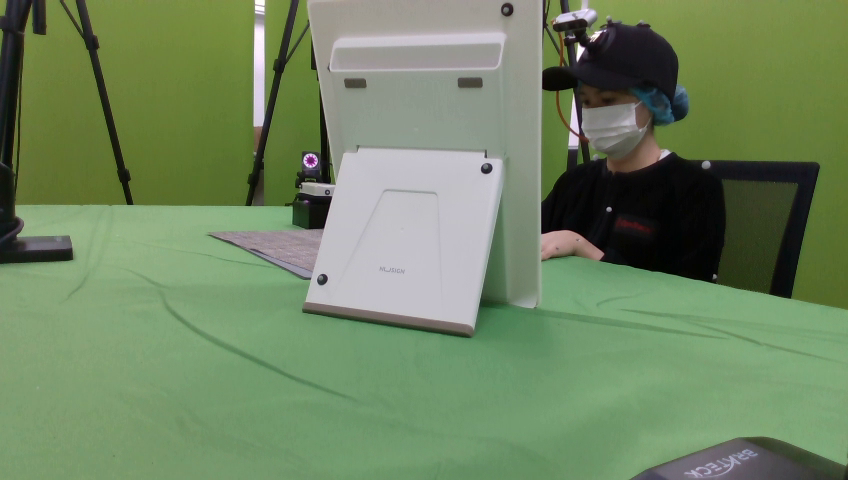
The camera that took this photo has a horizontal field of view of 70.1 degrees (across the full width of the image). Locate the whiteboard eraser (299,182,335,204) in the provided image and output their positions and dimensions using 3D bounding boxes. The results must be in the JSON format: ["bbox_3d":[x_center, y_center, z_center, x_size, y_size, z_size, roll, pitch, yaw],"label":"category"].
[{"bbox_3d":[-0.214,-0.097,1.231,0.056,0.042,0.112,-3,9,-28],"label":"whiteboard eraser"}]

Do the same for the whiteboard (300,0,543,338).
[{"bbox_3d":[-0.020,-0.050,0.523,0.216,0.305,0.144,6,27,22],"label":"whiteboard"}]
